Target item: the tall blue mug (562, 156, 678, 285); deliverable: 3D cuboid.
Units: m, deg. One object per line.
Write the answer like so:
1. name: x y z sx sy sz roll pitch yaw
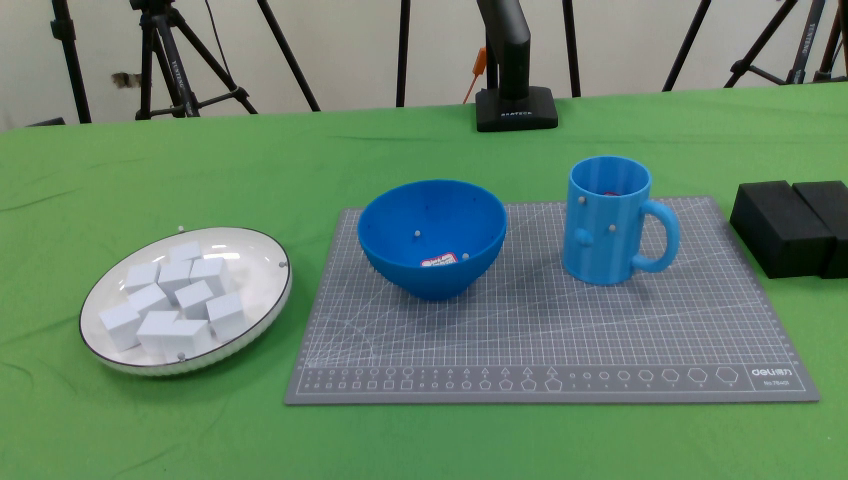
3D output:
1. tall blue mug: 0.196 -0.017 0.608 0.107 0.109 0.077 6 39 15

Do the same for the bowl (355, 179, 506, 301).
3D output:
1. bowl: 0.009 0.010 0.623 0.151 0.077 0.150 -3 38 3

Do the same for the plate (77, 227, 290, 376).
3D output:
1. plate: -0.240 0.062 0.625 0.209 0.038 0.207 -3 38 3
